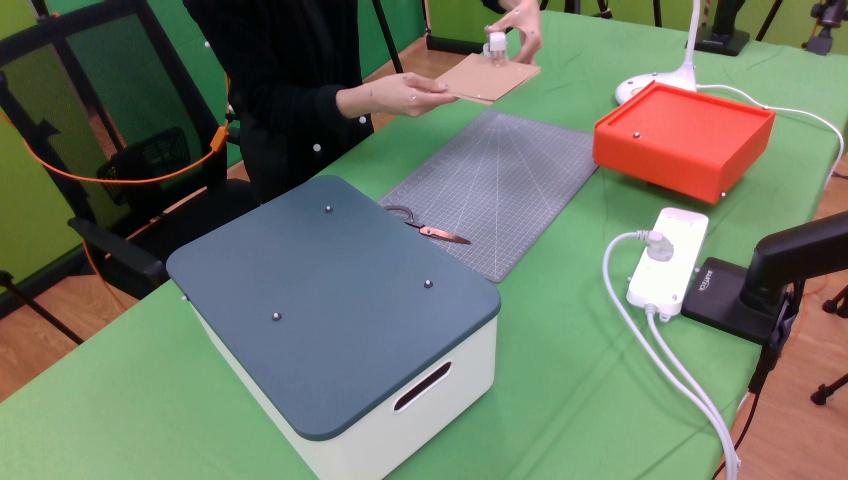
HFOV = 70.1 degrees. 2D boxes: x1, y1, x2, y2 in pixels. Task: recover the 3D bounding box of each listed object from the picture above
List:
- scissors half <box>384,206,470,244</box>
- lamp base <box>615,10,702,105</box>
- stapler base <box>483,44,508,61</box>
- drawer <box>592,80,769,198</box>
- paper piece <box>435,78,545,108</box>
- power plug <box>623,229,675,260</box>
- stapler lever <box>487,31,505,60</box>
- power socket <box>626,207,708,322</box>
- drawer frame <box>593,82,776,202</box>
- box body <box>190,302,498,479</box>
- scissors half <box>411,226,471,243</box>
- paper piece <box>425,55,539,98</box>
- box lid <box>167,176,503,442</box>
[{"bbox_3d":[0.001,-0.024,1.005,0.174,0.013,0.040,22,57,25],"label":"scissors half"},{"bbox_3d":[0.484,-0.364,1.211,0.180,0.181,0.159,-15,41,-14],"label":"lamp base"},{"bbox_3d":[0.124,-0.323,1.049,0.041,0.024,0.130,0,35,3],"label":"stapler base"},{"bbox_3d":[0.423,-0.174,1.007,0.210,0.073,0.195,30,52,35],"label":"drawer"},{"bbox_3d":[0.097,-0.247,0.959,0.136,0.004,0.134,-29,43,-33],"label":"paper piece"},{"bbox_3d":[0.327,0.007,0.878,0.072,0.053,0.035,25,51,33],"label":"power plug"},{"bbox_3d":[0.122,-0.344,1.035,0.027,0.040,0.117,-1,36,3],"label":"stapler lever"},{"bbox_3d":[0.360,0.026,0.886,0.072,0.033,0.227,16,46,26],"label":"power socket"},{"bbox_3d":[0.428,-0.171,1.006,0.211,0.083,0.202,29,51,36],"label":"drawer frame"},{"bbox_3d":[-0.110,0.103,0.761,0.255,0.161,0.361,-33,46,-27],"label":"box body"},{"bbox_3d":[-0.007,-0.010,0.993,0.174,0.013,0.040,8,47,15],"label":"scissors half"},{"bbox_3d":[0.094,-0.260,0.960,0.137,0.009,0.136,21,43,33],"label":"paper piece"},{"bbox_3d":[-0.119,0.047,0.714,0.264,0.015,0.368,-32,47,-27],"label":"box lid"}]
